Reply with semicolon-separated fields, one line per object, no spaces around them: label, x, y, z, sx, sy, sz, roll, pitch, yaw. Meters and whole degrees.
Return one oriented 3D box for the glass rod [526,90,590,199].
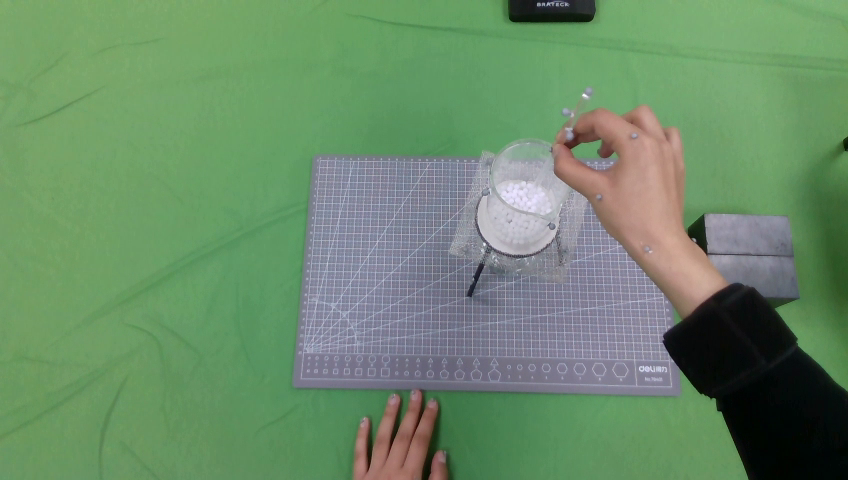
glass rod;0.110;-0.074;0.524;0.008;0.200;0.008;1;72;-3

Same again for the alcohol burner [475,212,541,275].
alcohol burner;0.098;-0.001;0.698;0.078;0.120;0.077;-1;73;2

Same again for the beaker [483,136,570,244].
beaker;0.095;-0.040;0.580;0.074;0.101;0.083;-26;74;-7

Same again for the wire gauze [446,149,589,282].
wire gauze;0.099;-0.027;0.626;0.121;0.011;0.124;18;71;5

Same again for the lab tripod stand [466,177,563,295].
lab tripod stand;0.094;-0.009;0.690;0.148;0.132;0.147;-1;72;3
